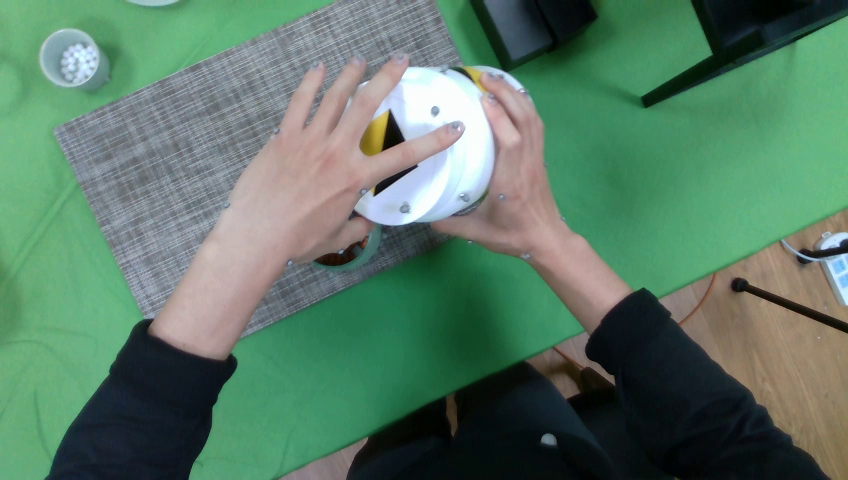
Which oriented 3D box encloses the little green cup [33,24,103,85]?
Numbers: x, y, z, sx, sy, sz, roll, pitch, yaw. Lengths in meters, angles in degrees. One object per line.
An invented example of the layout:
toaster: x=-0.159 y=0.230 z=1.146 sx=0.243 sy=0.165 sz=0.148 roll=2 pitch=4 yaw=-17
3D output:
little green cup: x=-0.384 y=-0.199 z=0.660 sx=0.061 sy=0.038 sz=0.061 roll=0 pitch=92 yaw=-5

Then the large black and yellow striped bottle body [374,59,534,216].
large black and yellow striped bottle body: x=0.011 y=-0.096 z=0.550 sx=0.130 sy=0.184 sz=0.131 roll=9 pitch=110 yaw=27

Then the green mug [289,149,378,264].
green mug: x=-0.099 y=-0.035 z=0.648 sx=0.092 sy=0.105 sz=0.125 roll=-9 pitch=92 yaw=-3

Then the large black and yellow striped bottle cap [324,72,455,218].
large black and yellow striped bottle cap: x=-0.030 y=-0.074 z=0.479 sx=0.114 sy=0.019 sz=0.115 roll=9 pitch=109 yaw=28
